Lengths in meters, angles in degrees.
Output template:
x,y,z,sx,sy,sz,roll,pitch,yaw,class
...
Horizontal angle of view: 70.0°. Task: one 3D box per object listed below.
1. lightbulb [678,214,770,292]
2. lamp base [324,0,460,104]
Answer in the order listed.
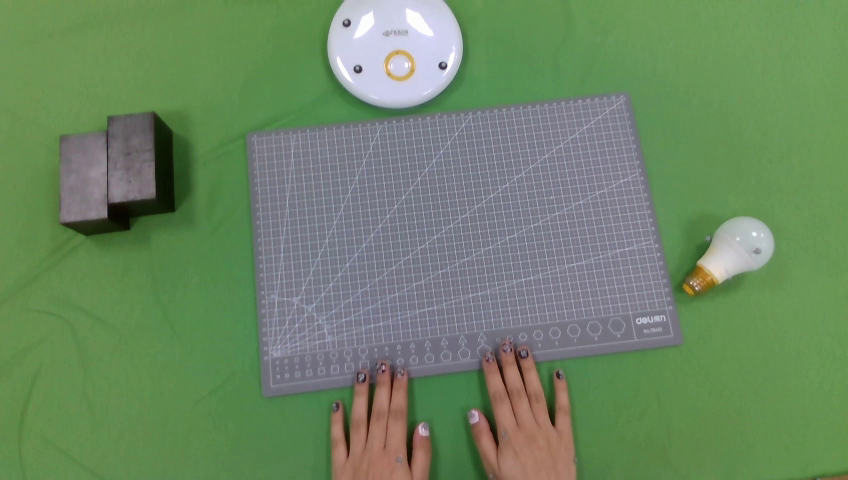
x,y,z,sx,sy,sz,roll,pitch,yaw,class
0.320,0.018,0.655,0.107,0.060,0.059,-42,80,6,lightbulb
-0.041,-0.264,0.645,0.161,0.181,0.178,-15,75,-4,lamp base
